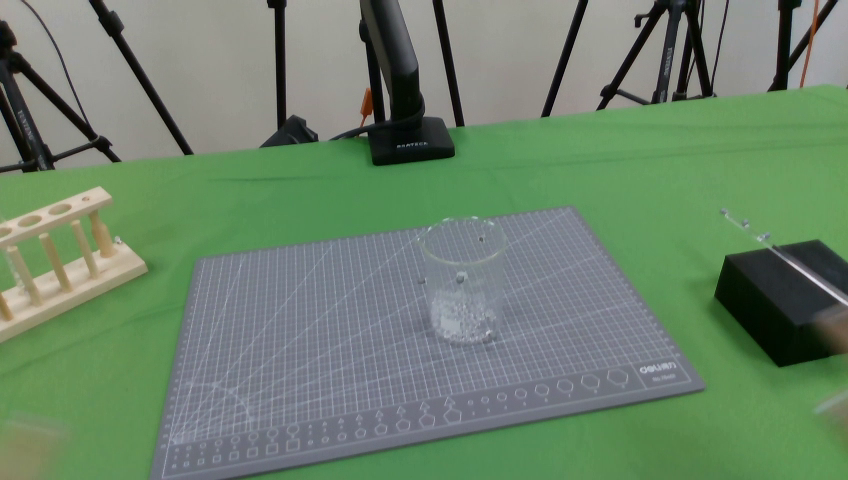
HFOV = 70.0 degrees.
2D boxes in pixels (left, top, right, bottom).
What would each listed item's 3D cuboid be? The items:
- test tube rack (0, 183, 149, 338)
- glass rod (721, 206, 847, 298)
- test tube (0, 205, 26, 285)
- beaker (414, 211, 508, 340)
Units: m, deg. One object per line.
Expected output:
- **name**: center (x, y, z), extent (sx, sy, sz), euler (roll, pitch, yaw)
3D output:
- **test tube rack**: center (-0.416, 0.036, 0.602), extent (0.242, 0.086, 0.066), euler (-31, 45, -34)
- **glass rod**: center (0.342, 0.018, 0.550), extent (0.008, 0.008, 0.197), euler (-14, 37, -14)
- **test tube**: center (-0.419, -0.021, 0.594), extent (0.017, 0.151, 0.017), euler (-4, 28, 2)
- **beaker**: center (0.034, 0.035, 0.555), extent (0.084, 0.101, 0.073), euler (5, 36, 13)
